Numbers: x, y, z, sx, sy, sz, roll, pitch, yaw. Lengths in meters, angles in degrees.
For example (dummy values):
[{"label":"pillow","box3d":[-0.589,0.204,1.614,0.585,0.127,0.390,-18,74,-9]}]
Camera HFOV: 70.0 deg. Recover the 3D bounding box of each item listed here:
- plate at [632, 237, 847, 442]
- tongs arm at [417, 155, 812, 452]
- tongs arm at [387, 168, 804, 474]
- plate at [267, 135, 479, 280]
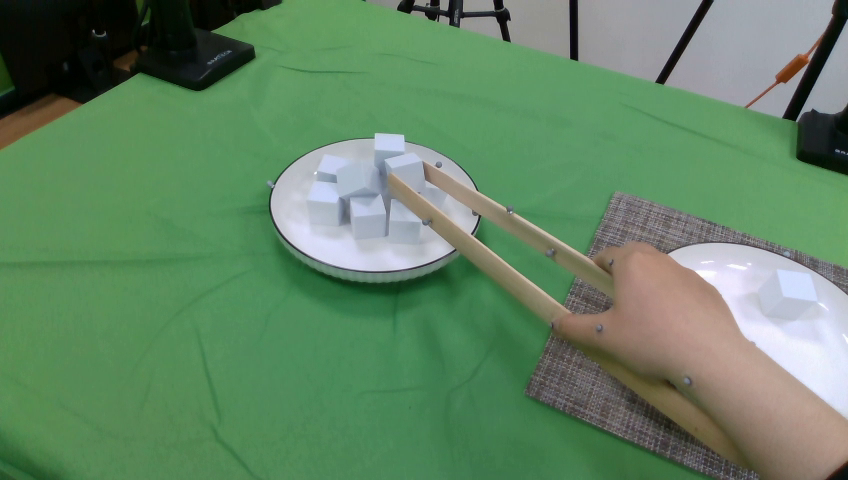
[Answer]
[{"label":"plate","box3d":[0.279,0.081,0.520,0.208,0.039,0.205,3,44,-3]},{"label":"tongs arm","box3d":[0.110,0.029,0.477,0.051,0.027,0.381,-33,51,-31]},{"label":"tongs arm","box3d":[0.091,0.039,0.466,0.028,0.028,0.383,-27,48,-31]},{"label":"plate","box3d":[-0.049,-0.032,0.607,0.209,0.038,0.207,3,44,-3]}]
